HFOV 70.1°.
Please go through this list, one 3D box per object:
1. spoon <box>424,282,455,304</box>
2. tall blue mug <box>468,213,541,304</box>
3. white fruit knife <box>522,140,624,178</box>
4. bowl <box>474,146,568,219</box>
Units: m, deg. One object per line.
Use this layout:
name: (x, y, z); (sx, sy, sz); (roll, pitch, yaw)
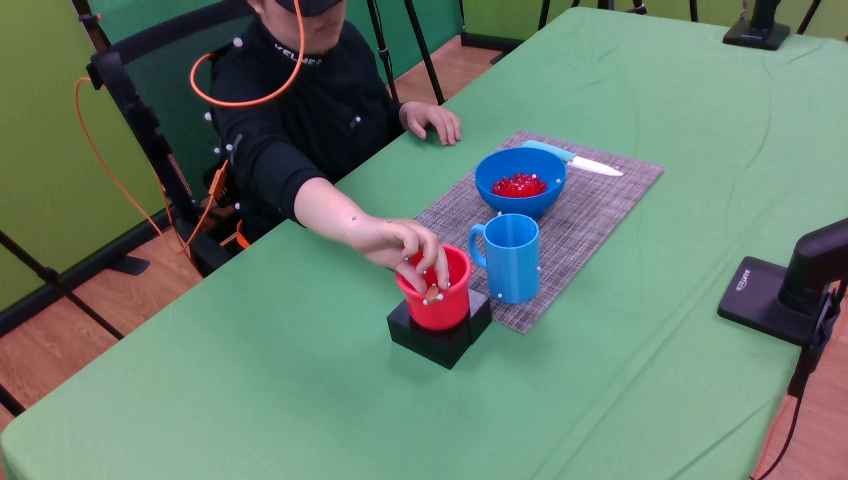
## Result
spoon: (0.014, 0.062, 0.733); (0.041, 0.021, 0.194); (-3, -4, 5)
tall blue mug: (0.111, 0.026, 0.856); (0.107, 0.108, 0.077); (2, 42, 13)
white fruit knife: (0.270, -0.149, 1.110); (0.206, 0.016, 0.027); (25, 80, 32)
bowl: (0.161, -0.083, 1.000); (0.151, 0.077, 0.150); (-5, 40, 5)
